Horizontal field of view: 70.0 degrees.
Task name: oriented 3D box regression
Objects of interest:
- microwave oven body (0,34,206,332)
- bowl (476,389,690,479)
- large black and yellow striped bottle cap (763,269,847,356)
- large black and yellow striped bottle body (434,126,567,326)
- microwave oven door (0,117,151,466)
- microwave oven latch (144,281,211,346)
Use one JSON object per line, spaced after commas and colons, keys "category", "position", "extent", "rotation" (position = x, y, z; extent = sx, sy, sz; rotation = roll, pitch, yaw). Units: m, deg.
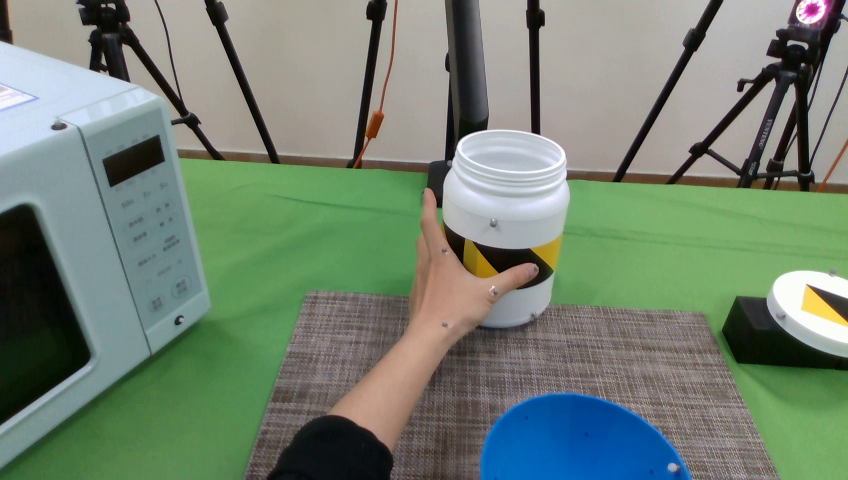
{"category": "microwave oven body", "position": [-0.465, 0.031, 0.478], "extent": [0.324, 0.262, 0.440], "rotation": [21, 40, 22]}
{"category": "bowl", "position": [0.110, 0.193, 0.447], "extent": [0.151, 0.077, 0.150], "rotation": [2, 36, -1]}
{"category": "large black and yellow striped bottle cap", "position": [0.407, 0.070, 0.612], "extent": [0.115, 0.019, 0.114], "rotation": [1, 35, 0]}
{"category": "large black and yellow striped bottle body", "position": [0.079, -0.016, 0.647], "extent": [0.131, 0.185, 0.129], "rotation": [2, 33, -1]}
{"category": "microwave oven door", "position": [-0.359, 0.093, 0.389], "extent": [0.039, 0.246, 0.355], "rotation": [20, 39, 23]}
{"category": "microwave oven latch", "position": [-0.251, 0.069, 0.605], "extent": [0.030, 0.030, 0.079], "rotation": [22, 41, 24]}
